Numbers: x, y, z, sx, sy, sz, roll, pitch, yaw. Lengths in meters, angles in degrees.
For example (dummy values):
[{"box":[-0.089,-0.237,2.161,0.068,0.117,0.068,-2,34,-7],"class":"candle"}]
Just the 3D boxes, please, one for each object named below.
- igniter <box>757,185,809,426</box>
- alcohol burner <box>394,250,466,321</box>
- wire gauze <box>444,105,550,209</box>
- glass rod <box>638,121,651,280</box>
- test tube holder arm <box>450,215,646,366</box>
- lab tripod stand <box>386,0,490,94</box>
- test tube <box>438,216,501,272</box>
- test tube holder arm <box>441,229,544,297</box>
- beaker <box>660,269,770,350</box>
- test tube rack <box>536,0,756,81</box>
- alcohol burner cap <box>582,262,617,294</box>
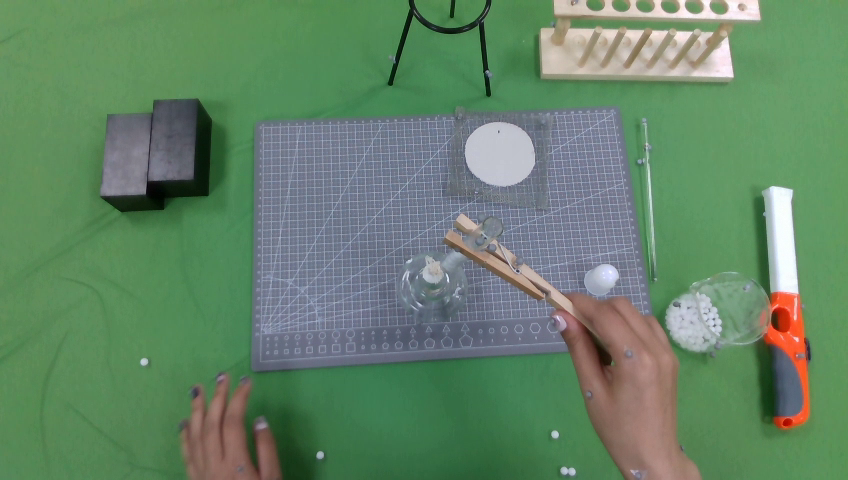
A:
[{"box":[0.405,0.069,0.689,0.057,0.025,0.275,8,74,-10],"class":"igniter"},{"box":[0.006,0.044,0.635,0.078,0.120,0.077,0,73,0],"class":"alcohol burner"},{"box":[0.090,-0.104,0.734,0.125,0.011,0.121,8,75,0],"class":"wire gauze"},{"box":[0.265,-0.050,0.727,0.008,0.008,0.198,2,77,-1],"class":"glass rod"},{"box":[0.093,0.038,0.457,0.178,0.015,0.013,36,82,0],"class":"test tube holder arm"},{"box":[0.021,-0.242,0.708,0.148,0.132,0.147,0,76,-1],"class":"lab tripod stand"},{"box":[0.032,0.007,0.477,0.017,0.150,0.017,2,77,-10],"class":"test tube"},{"box":[0.053,0.018,0.456,0.088,0.015,0.010,30,82,-1],"class":"test tube holder arm"},{"box":[0.301,0.077,0.646,0.084,0.101,0.074,28,75,7],"class":"beaker"},{"box":[0.266,-0.248,0.742,0.242,0.085,0.066,1,74,-1],"class":"test tube rack"},{"box":[0.199,0.040,0.679,0.034,0.048,0.033,0,74,-1],"class":"alcohol burner cap"}]
